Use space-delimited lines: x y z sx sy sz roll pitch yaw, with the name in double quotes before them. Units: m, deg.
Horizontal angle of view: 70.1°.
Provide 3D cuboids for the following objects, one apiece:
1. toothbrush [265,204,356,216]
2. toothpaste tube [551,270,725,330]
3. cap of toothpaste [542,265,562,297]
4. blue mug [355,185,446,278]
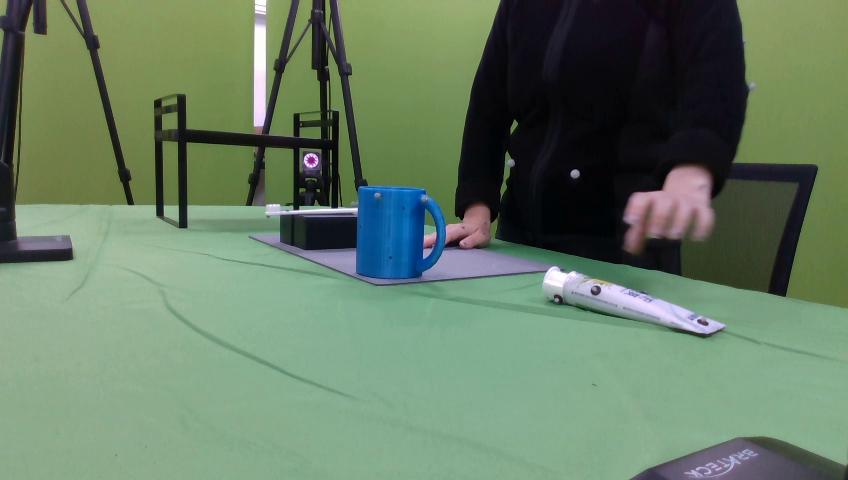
"toothbrush" -0.160 -0.048 0.937 0.183 0.016 0.014 -4 5 -39
"toothpaste tube" 0.193 0.058 0.578 0.164 0.034 0.055 13 17 40
"cap of toothpaste" 0.137 0.044 0.630 0.011 0.037 0.037 13 13 40
"blue mug" -0.027 -0.011 0.723 0.116 0.106 0.083 6 8 27
